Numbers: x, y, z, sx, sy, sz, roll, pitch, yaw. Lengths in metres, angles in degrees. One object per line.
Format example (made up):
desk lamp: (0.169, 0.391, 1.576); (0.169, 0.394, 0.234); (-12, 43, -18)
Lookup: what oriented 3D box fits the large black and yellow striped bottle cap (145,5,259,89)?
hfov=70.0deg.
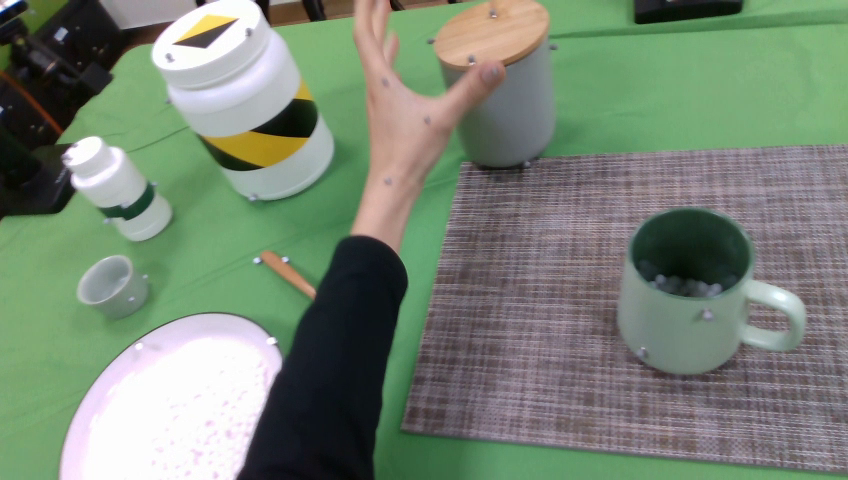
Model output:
large black and yellow striped bottle cap: (-0.219, -0.193, 0.598); (0.115, 0.019, 0.114); (-9, 50, 11)

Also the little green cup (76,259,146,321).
little green cup: (-0.331, 0.055, 0.645); (0.061, 0.039, 0.061); (-9, 50, 11)

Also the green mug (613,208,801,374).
green mug: (0.200, 0.044, 0.435); (0.124, 0.106, 0.092); (19, 60, 29)

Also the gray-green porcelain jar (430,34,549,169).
gray-green porcelain jar: (0.070, -0.145, 0.613); (0.106, 0.128, 0.105); (-9, 47, 10)

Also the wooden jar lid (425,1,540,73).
wooden jar lid: (0.055, -0.187, 0.568); (0.108, 0.021, 0.107); (-11, 49, 13)

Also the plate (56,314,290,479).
plate: (-0.209, 0.161, 0.523); (0.209, 0.038, 0.207); (-9, 51, 11)

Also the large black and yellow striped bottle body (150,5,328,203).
large black and yellow striped bottle body: (-0.197, -0.144, 0.662); (0.130, 0.186, 0.129); (-9, 51, 11)

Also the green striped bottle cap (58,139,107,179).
green striped bottle cap: (-0.363, -0.086, 0.644); (0.044, 0.020, 0.044); (-7, 53, 10)

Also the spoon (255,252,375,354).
spoon: (-0.112, 0.052, 0.588); (0.192, 0.022, 0.041); (32, 85, 34)

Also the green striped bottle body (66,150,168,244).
green striped bottle body: (-0.350, -0.054, 0.683); (0.063, 0.120, 0.062); (-9, 51, 12)
